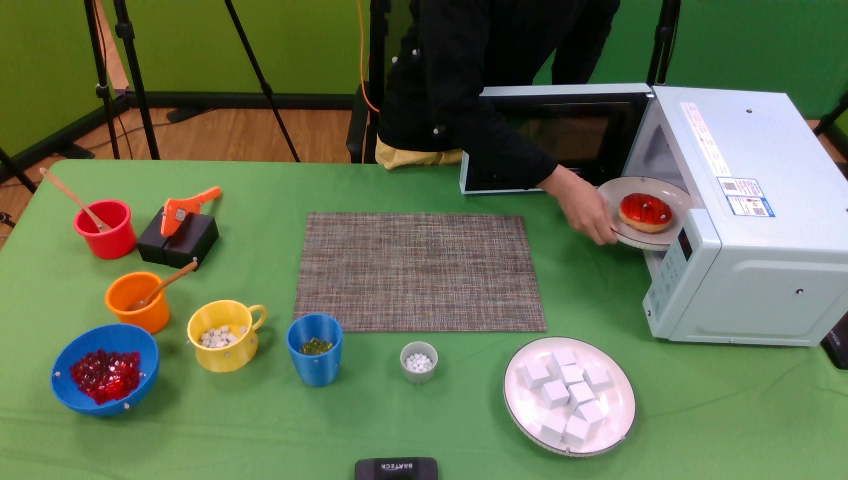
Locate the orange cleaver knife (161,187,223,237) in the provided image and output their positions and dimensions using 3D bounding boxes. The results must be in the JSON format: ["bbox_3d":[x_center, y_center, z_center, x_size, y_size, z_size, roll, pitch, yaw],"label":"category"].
[{"bbox_3d":[-0.448,-0.058,1.181,0.012,0.077,0.211,13,17,6],"label":"orange cleaver knife"}]

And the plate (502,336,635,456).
[{"bbox_3d":[0.225,0.248,0.963,0.208,0.039,0.206,2,46,-2],"label":"plate"}]

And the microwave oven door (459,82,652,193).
[{"bbox_3d":[0.259,-0.206,1.237,0.356,0.245,0.039,-3,46,-7],"label":"microwave oven door"}]

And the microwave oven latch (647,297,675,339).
[{"bbox_3d":[0.413,0.134,1.060,0.030,0.029,0.078,5,45,2],"label":"microwave oven latch"}]

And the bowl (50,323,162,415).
[{"bbox_3d":[-0.472,0.209,0.924,0.151,0.077,0.150,2,45,-2],"label":"bowl"}]

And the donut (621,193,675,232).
[{"bbox_3d":[0.424,-0.053,1.150,0.099,0.048,0.098,3,38,-2],"label":"donut"}]

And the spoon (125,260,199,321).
[{"bbox_3d":[-0.435,0.083,1.000,0.022,0.194,0.041,35,33,-34],"label":"spoon"}]

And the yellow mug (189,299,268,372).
[{"bbox_3d":[-0.315,0.148,1.001,0.131,0.064,0.099,-32,55,-31],"label":"yellow mug"}]

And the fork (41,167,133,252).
[{"bbox_3d":[-0.624,-0.055,1.121,0.208,0.018,0.028,49,52,-15],"label":"fork"}]

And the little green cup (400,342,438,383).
[{"bbox_3d":[-0.010,0.202,0.991,0.061,0.039,0.061,2,47,-2],"label":"little green cup"}]

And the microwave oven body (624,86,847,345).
[{"bbox_3d":[0.567,-0.053,1.118,0.326,0.261,0.439,2,45,-1],"label":"microwave oven body"}]

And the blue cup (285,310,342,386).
[{"bbox_3d":[-0.170,0.179,0.958,0.093,0.101,0.092,1,44,-1],"label":"blue cup"}]

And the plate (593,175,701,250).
[{"bbox_3d":[0.427,-0.049,1.160,0.209,0.038,0.208,1,42,-1],"label":"plate"}]
